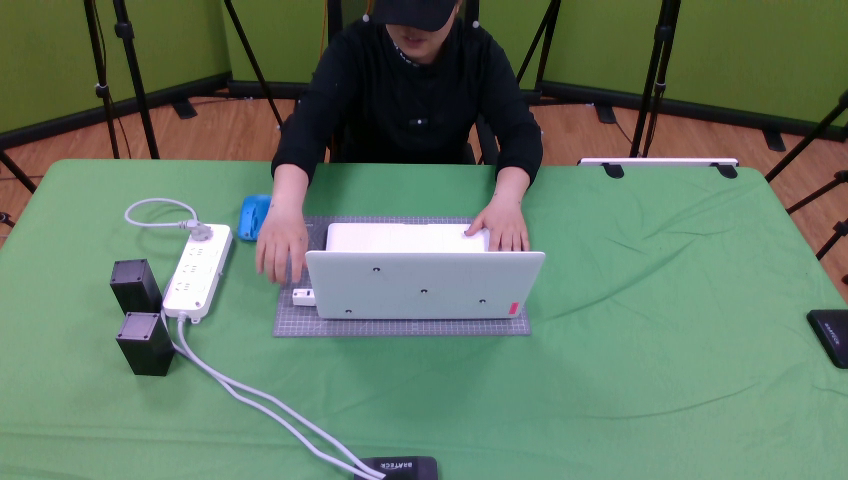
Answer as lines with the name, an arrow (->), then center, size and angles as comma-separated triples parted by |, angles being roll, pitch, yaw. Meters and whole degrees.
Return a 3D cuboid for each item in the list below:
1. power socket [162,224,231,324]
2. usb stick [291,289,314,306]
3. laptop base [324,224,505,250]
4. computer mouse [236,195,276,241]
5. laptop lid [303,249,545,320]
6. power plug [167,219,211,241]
power socket -> -0.411, 0.052, 1.106 | 0.072, 0.033, 0.225 | 3, 46, -2
usb stick -> -0.202, 0.102, 1.068 | 0.059, 0.027, 0.021 | 3, 47, -3
laptop base -> -0.014, 0.055, 1.144 | 0.355, 0.023, 0.234 | 0, 42, -4
computer mouse -> -0.334, -0.047, 1.206 | 0.063, 0.041, 0.116 | 3, 50, -4
laptop lid -> -0.003, 0.077, 0.962 | 0.357, 0.242, 0.013 | 1, 58, -5
power plug -> -0.438, -0.017, 1.143 | 0.072, 0.053, 0.035 | 10, 43, 6
